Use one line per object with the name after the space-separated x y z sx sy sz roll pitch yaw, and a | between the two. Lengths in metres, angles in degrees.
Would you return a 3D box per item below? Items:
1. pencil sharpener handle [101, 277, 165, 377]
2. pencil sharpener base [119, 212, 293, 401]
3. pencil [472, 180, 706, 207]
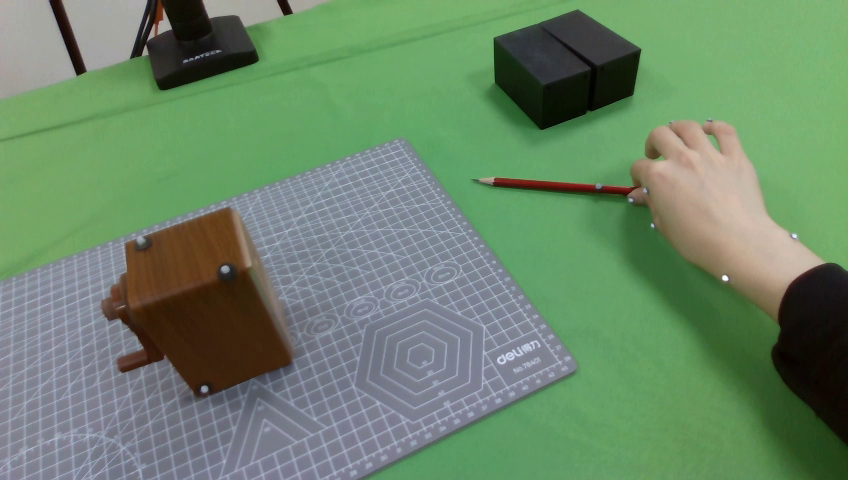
-0.187 0.057 0.377 0.031 0.068 0.035 -20 37 -11 | pencil sharpener handle
-0.140 0.047 0.398 0.077 0.108 0.060 -20 47 -11 | pencil sharpener base
0.136 -0.041 0.516 0.193 0.012 0.012 6 48 15 | pencil
